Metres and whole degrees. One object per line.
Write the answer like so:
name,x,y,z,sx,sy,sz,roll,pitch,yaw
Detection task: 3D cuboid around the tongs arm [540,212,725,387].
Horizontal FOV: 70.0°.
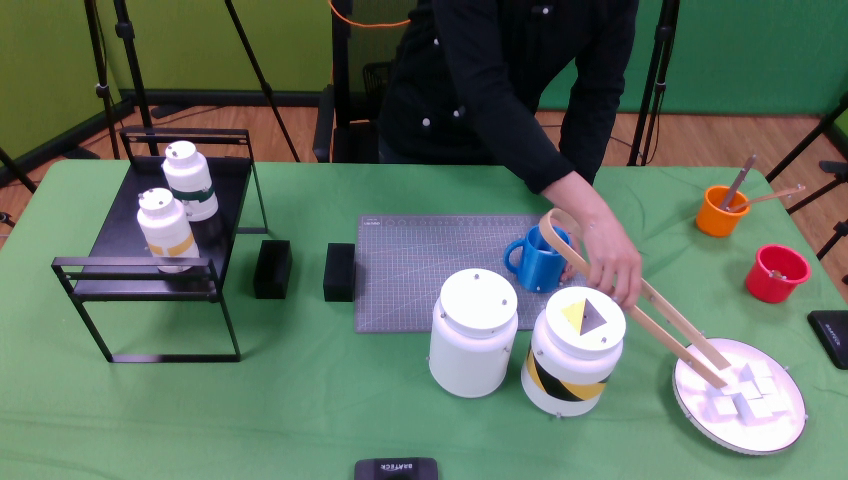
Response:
tongs arm,0.326,0.099,0.953,0.387,0.028,0.028,42,56,-2

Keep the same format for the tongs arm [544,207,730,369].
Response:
tongs arm,0.340,0.083,0.970,0.385,0.026,0.050,45,53,0

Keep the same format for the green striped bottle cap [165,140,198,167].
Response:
green striped bottle cap,-0.360,-0.128,0.902,0.044,0.020,0.044,3,47,-3

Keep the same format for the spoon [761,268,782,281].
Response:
spoon,0.638,0.060,1.105,0.041,0.021,0.194,38,11,24

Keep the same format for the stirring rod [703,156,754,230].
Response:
stirring rod,0.631,-0.098,1.258,0.014,0.006,0.176,33,95,28

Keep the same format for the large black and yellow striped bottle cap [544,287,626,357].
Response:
large black and yellow striped bottle cap,0.232,0.116,0.876,0.115,0.019,0.114,1,46,-1

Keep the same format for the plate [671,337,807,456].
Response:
plate,0.504,0.254,0.984,0.208,0.039,0.206,2,46,-2

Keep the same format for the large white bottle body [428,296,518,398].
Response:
large white bottle body,0.075,0.147,0.950,0.131,0.185,0.130,2,46,-2

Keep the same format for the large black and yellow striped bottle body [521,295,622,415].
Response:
large black and yellow striped bottle body,0.228,0.173,0.937,0.131,0.185,0.130,2,47,-2

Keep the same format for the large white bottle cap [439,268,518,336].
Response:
large white bottle cap,0.080,0.089,0.888,0.115,0.018,0.114,2,47,-2

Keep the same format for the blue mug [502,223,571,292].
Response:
blue mug,0.203,0.032,1.121,0.116,0.106,0.082,5,47,1

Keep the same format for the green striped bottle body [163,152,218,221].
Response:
green striped bottle body,-0.363,-0.092,0.939,0.063,0.120,0.063,2,46,-2

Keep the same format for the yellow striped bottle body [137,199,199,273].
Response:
yellow striped bottle body,-0.366,-0.014,0.864,0.063,0.121,0.062,2,46,-2

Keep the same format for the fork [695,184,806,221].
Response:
fork,0.657,-0.075,1.230,0.207,0.019,0.028,-23,34,37

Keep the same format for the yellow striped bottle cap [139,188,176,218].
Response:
yellow striped bottle cap,-0.363,-0.051,0.826,0.044,0.019,0.044,1,47,-1
